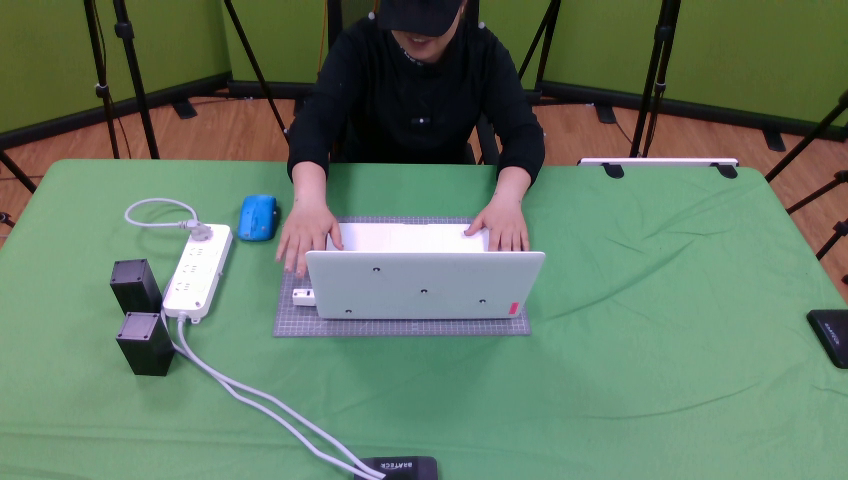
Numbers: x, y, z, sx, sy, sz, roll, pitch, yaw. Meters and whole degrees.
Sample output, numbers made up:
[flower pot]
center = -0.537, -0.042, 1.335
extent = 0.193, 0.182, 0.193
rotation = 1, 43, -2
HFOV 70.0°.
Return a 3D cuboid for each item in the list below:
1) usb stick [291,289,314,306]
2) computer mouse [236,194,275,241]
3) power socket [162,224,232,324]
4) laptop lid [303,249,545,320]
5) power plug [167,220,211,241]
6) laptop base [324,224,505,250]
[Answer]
[usb stick]
center = -0.203, 0.101, 1.067
extent = 0.059, 0.027, 0.021
rotation = 4, 46, -5
[computer mouse]
center = -0.334, -0.048, 1.206
extent = 0.063, 0.041, 0.116
rotation = 2, 51, -4
[power socket]
center = -0.410, 0.052, 1.106
extent = 0.072, 0.033, 0.225
rotation = 4, 46, -1
[laptop lid]
center = -0.003, 0.077, 0.962
extent = 0.357, 0.242, 0.013
rotation = 1, 58, -5
[power plug]
center = -0.438, -0.017, 1.143
extent = 0.072, 0.053, 0.035
rotation = 10, 43, 7
[laptop base]
center = -0.014, 0.056, 1.145
extent = 0.355, 0.023, 0.234
rotation = 0, 43, -4
